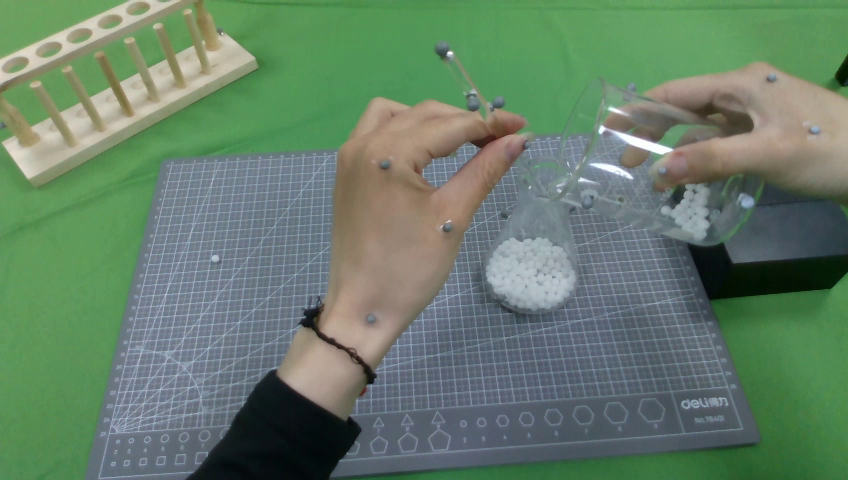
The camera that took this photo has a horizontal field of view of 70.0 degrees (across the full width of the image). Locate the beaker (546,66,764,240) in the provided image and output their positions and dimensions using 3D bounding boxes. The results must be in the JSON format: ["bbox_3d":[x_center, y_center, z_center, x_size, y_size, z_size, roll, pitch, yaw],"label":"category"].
[{"bbox_3d":[0.130,-0.045,0.351,0.100,0.084,0.073,18,68,-2],"label":"beaker"}]

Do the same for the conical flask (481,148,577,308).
[{"bbox_3d":[0.080,-0.010,0.432,0.075,0.123,0.074,-1,55,2],"label":"conical flask"}]

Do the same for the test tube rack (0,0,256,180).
[{"bbox_3d":[-0.289,-0.165,0.574,0.242,0.086,0.066,-37,62,-22],"label":"test tube rack"}]

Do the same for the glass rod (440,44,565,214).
[{"bbox_3d":[0.053,-0.051,0.343,0.008,0.201,0.008,-9,68,25],"label":"glass rod"}]
